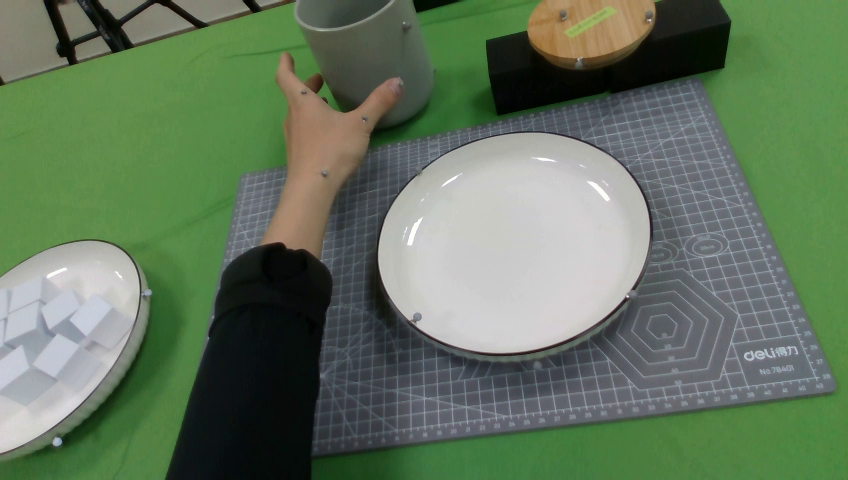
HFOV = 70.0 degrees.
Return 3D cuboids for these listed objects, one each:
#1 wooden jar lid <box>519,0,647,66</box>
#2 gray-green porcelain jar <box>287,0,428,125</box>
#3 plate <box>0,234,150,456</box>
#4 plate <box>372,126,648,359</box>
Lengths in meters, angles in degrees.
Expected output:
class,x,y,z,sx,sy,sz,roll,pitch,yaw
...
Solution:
class,x,y,z,sx,sy,sz,roll,pitch,yaw
wooden jar lid,0.139,-0.191,0.532,0.108,0.021,0.107,-8,55,12
gray-green porcelain jar,-0.057,-0.184,0.586,0.105,0.128,0.105,-9,53,12
plate,-0.333,0.089,0.533,0.207,0.039,0.205,-8,53,12
plate,0.063,-0.002,0.469,0.209,0.038,0.207,-9,53,12
